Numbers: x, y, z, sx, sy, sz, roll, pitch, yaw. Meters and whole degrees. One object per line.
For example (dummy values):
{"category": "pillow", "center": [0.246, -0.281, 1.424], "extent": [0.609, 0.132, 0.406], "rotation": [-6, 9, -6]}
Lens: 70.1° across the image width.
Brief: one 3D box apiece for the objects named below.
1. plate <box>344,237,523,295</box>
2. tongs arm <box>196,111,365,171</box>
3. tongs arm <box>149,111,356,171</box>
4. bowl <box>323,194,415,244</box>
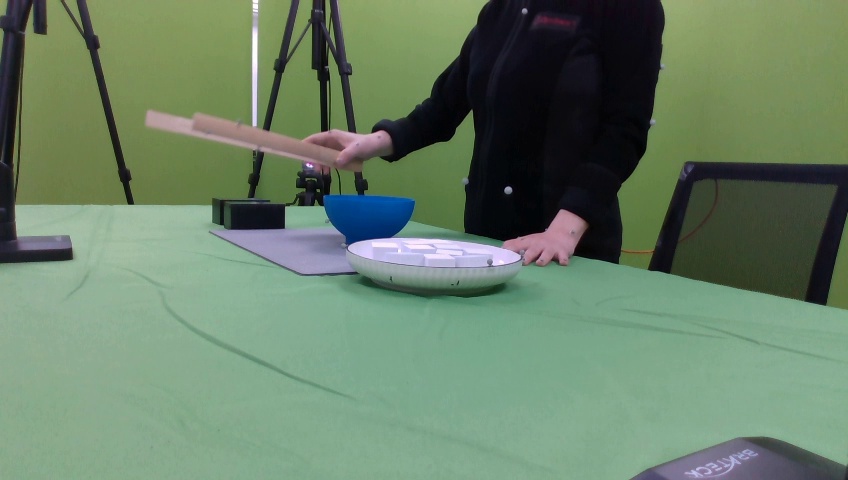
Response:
{"category": "plate", "center": [0.010, 0.030, 0.707], "extent": [0.208, 0.039, 0.207], "rotation": [3, 8, 0]}
{"category": "tongs arm", "center": [-0.217, -0.154, 0.993], "extent": [0.050, 0.026, 0.387], "rotation": [7, 1, 34]}
{"category": "tongs arm", "center": [-0.271, -0.163, 1.035], "extent": [0.028, 0.027, 0.390], "rotation": [2, -3, 44]}
{"category": "bowl", "center": [-0.091, -0.032, 0.986], "extent": [0.151, 0.077, 0.151], "rotation": [2, 7, 0]}
